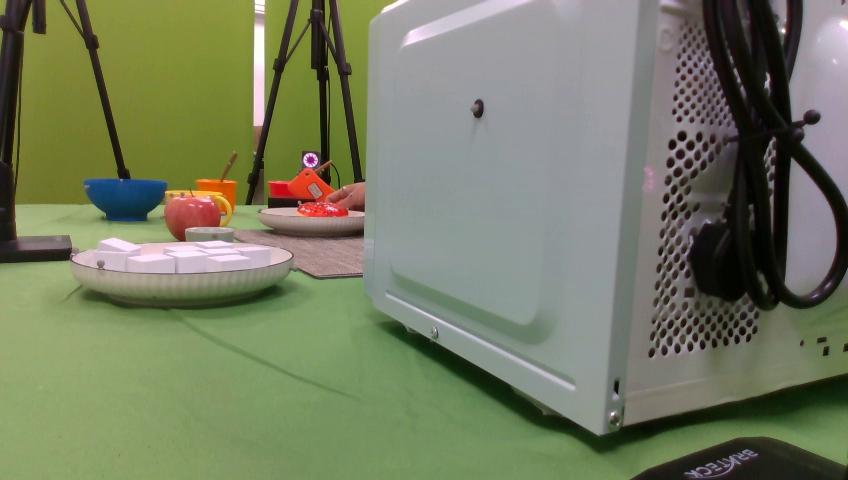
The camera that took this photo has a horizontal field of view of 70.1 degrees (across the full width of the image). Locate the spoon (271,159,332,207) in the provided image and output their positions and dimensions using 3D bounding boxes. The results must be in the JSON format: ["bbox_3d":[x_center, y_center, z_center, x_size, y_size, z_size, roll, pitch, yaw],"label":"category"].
[{"bbox_3d":[-0.307,-0.142,1.514,0.193,0.021,0.041,-41,5,8],"label":"spoon"}]

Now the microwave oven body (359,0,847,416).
[{"bbox_3d":[0.211,-0.047,0.474,0.444,0.260,0.324,-1,7,-28],"label":"microwave oven body"}]

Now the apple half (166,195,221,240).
[{"bbox_3d":[-0.351,-0.031,0.935,0.081,0.074,0.053,1,11,-40],"label":"apple half"}]

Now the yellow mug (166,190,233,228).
[{"bbox_3d":[-0.415,-0.057,1.132,0.130,0.064,0.100,6,8,16],"label":"yellow mug"}]

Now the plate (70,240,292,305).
[{"bbox_3d":[-0.242,0.031,0.618,0.208,0.039,0.207,2,8,0],"label":"plate"}]

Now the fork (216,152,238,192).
[{"bbox_3d":[-0.455,-0.132,1.366,0.028,0.018,0.207,-2,-35,-37],"label":"fork"}]

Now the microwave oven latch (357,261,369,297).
[{"bbox_3d":[-0.019,0.033,0.530,0.079,0.029,0.030,0,7,-26],"label":"microwave oven latch"}]

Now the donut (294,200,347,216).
[{"bbox_3d":[-0.193,-0.049,1.134,0.099,0.048,0.099,4,8,0],"label":"donut"}]

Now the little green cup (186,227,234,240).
[{"bbox_3d":[-0.284,0.005,0.805,0.061,0.038,0.061,2,8,0],"label":"little green cup"}]

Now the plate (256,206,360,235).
[{"bbox_3d":[-0.202,-0.037,1.120,0.209,0.038,0.209,2,8,0],"label":"plate"}]

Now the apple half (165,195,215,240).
[{"bbox_3d":[-0.377,-0.038,0.964,0.082,0.081,0.032,-4,15,-39],"label":"apple half"}]

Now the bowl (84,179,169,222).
[{"bbox_3d":[-0.584,-0.078,1.194,0.151,0.077,0.151,3,8,0],"label":"bowl"}]

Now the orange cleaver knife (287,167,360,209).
[{"bbox_3d":[-0.209,-0.089,1.383,0.212,0.077,0.012,31,3,-15],"label":"orange cleaver knife"}]

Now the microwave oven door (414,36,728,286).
[{"bbox_3d":[0.168,-0.076,0.651,0.357,0.243,0.039,0,8,-18],"label":"microwave oven door"}]
